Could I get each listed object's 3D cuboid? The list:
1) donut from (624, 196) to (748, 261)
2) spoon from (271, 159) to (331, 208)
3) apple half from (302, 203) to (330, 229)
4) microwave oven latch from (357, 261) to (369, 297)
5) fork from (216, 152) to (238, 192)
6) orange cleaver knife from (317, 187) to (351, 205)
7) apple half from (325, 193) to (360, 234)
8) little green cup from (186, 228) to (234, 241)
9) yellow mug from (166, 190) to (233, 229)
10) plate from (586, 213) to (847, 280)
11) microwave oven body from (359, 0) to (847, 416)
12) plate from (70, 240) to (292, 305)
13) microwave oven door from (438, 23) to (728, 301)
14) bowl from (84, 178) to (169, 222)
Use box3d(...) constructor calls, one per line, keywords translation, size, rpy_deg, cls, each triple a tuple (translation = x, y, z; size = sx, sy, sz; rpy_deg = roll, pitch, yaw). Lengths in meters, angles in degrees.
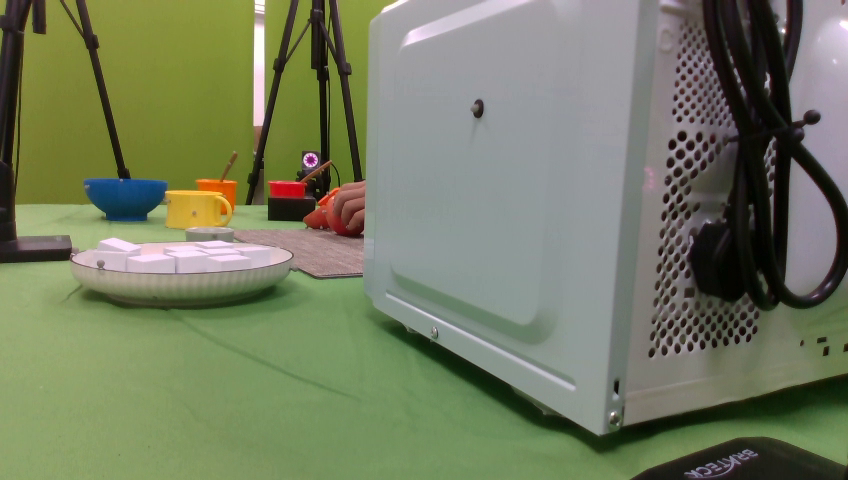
box3d(translation=(0.222, -0.008, 0.519), size=(0.099, 0.048, 0.099), rpy_deg=(15, 1, 0), cls="donut")
box3d(translation=(-0.308, -0.141, 1.513), size=(0.193, 0.021, 0.041), rpy_deg=(-42, 1, 8), cls="spoon")
box3d(translation=(-0.192, -0.043, 1.169), size=(0.081, 0.032, 0.081), rpy_deg=(-23, -12, -5), cls="apple half")
box3d(translation=(-0.019, 0.033, 0.530), size=(0.079, 0.029, 0.030), rpy_deg=(-1, 7, -27), cls="microwave oven latch")
box3d(translation=(-0.455, -0.132, 1.366), size=(0.028, 0.018, 0.207), rpy_deg=(-3, -35, -38), cls="fork")
box3d(translation=(-0.146, -0.078, 1.401), size=(0.212, 0.012, 0.077), rpy_deg=(12, -43, -41), cls="orange cleaver knife")
box3d(translation=(-0.133, -0.047, 1.088), size=(0.081, 0.074, 0.053), rpy_deg=(2, 11, -29), cls="apple half")
box3d(translation=(-0.284, 0.005, 0.805), size=(0.061, 0.038, 0.061), rpy_deg=(2, 8, 0), cls="little green cup")
box3d(translation=(-0.415, -0.057, 1.132), size=(0.130, 0.064, 0.100), rpy_deg=(6, 8, 16), cls="yellow mug")
box3d(translation=(0.243, 0.002, 0.512), size=(0.209, 0.038, 0.209), rpy_deg=(1, 7, 0), cls="plate")
box3d(translation=(0.211, -0.047, 0.474), size=(0.444, 0.260, 0.324), rpy_deg=(-1, 7, -28), cls="microwave oven body")
box3d(translation=(-0.242, 0.032, 0.618), size=(0.208, 0.039, 0.207), rpy_deg=(2, 7, 0), cls="plate")
box3d(translation=(0.181, -0.072, 0.620), size=(0.358, 0.243, 0.039), rpy_deg=(-2, 8, -29), cls="microwave oven door")
box3d(translation=(-0.584, -0.078, 1.194), size=(0.151, 0.077, 0.151), rpy_deg=(3, 8, 0), cls="bowl")
